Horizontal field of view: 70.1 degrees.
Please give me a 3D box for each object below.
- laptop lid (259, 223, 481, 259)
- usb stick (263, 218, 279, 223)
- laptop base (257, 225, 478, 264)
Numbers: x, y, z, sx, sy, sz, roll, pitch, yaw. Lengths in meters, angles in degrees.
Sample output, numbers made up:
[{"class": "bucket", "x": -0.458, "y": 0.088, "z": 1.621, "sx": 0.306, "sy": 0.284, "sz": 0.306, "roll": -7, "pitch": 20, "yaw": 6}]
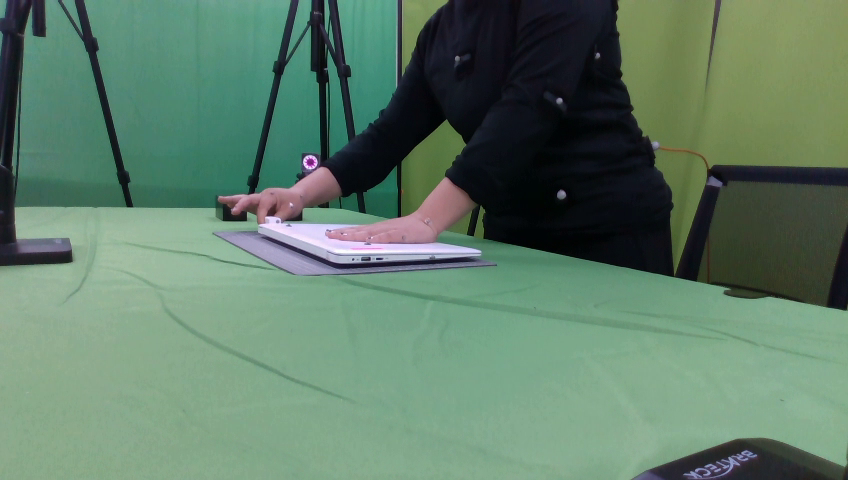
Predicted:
[{"class": "laptop lid", "x": -0.101, "y": -0.002, "z": 0.961, "sx": 0.243, "sy": 0.013, "sz": 0.355, "roll": 2, "pitch": 7, "yaw": -30}, {"class": "usb stick", "x": -0.272, "y": -0.026, "z": 1.080, "sx": 0.021, "sy": 0.027, "sz": 0.059, "roll": -5, "pitch": 7, "yaw": -26}, {"class": "laptop base", "x": -0.103, "y": 0.007, "z": 0.961, "sx": 0.237, "sy": 0.023, "sz": 0.352, "roll": 3, "pitch": 6, "yaw": -32}]
